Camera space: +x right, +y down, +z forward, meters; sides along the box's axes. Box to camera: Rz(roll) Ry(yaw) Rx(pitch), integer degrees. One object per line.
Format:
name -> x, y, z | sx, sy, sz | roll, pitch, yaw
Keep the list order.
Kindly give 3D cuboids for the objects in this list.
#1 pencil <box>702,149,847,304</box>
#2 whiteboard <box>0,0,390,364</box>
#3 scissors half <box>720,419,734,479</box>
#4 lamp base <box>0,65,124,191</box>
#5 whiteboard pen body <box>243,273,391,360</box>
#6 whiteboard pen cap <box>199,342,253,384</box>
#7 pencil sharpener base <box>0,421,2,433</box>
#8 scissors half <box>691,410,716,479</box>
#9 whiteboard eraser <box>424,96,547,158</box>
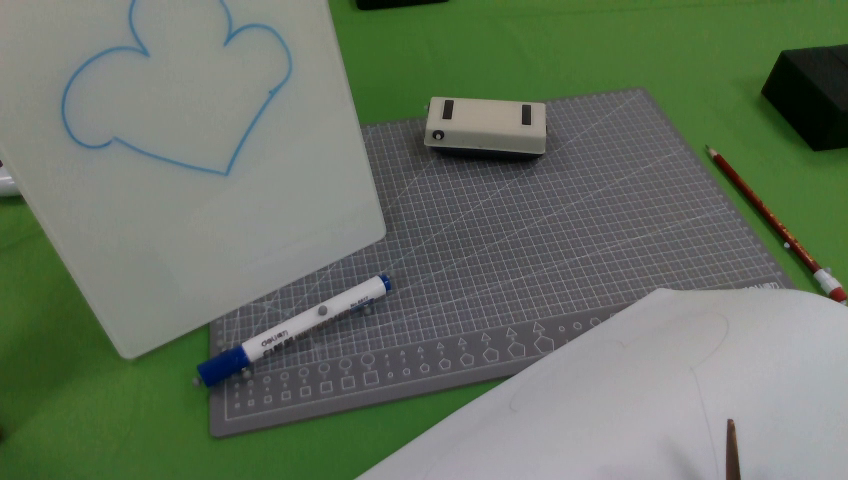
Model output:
pencil -> 0.300, -0.021, 0.531 | 0.012, 0.012, 0.192 | -12, 49, -11
whiteboard -> -0.180, -0.109, 0.436 | 0.217, 0.308, 0.142 | -26, 35, -21
scissors half -> 0.147, 0.167, 0.294 | 0.013, 0.176, 0.040 | -6, 15, 4
lamp base -> -0.378, -0.159, 0.515 | 0.178, 0.182, 0.160 | 22, 52, 19
whiteboard pen body -> -0.086, 0.059, 0.437 | 0.141, 0.017, 0.017 | -26, 55, -21
whiteboard pen cap -> -0.135, 0.084, 0.416 | 0.033, 0.018, 0.018 | -27, 55, -21
pencil sharpener base -> -0.315, 0.100, 0.346 | 0.061, 0.108, 0.076 | 29, 55, 21
scissors half -> 0.145, 0.163, 0.269 | 0.013, 0.040, 0.173 | -5, 61, 0
whiteboard eraser -> 0.058, -0.105, 0.570 | 0.112, 0.042, 0.055 | 5, 50, 3
